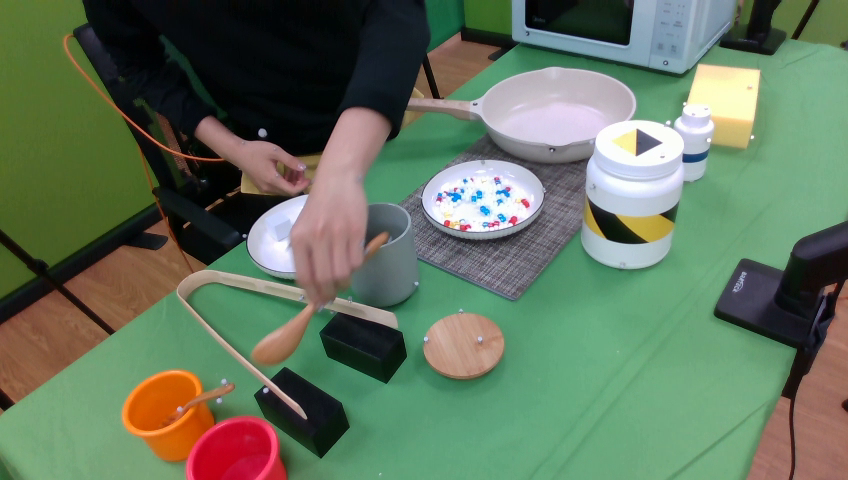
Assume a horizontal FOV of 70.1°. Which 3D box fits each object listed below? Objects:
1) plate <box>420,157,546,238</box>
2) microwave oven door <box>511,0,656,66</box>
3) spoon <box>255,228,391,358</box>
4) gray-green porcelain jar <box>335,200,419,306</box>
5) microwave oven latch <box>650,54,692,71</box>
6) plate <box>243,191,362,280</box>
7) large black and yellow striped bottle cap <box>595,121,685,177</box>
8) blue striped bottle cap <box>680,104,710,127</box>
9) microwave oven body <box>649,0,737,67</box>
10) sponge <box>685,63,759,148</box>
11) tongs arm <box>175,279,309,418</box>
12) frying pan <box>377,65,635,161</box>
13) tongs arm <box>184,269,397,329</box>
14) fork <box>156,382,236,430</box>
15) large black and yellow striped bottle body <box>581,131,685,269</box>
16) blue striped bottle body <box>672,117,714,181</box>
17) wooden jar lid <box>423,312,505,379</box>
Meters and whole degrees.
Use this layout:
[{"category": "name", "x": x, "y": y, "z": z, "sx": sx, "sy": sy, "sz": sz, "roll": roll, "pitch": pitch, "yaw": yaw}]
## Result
[{"category": "plate", "x": 0.099, "y": -0.067, "z": 1.017, "sx": 0.209, "sy": 0.038, "sz": 0.208, "roll": -4, "pitch": 40, "yaw": 4}, {"category": "microwave oven door", "x": 0.350, "y": -0.539, "z": 1.348, "sx": 0.353, "sy": 0.245, "sz": 0.039, "roll": 24, "pitch": 50, "yaw": 31}, {"category": "spoon", "x": -0.106, "y": 0.055, "z": 0.653, "sx": 0.194, "sy": 0.042, "sz": 0.021, "roll": -48, "pitch": 41, "yaw": -8}, {"category": "gray-green porcelain jar", "x": -0.063, "y": 0.023, "z": 0.872, "sx": 0.106, "sy": 0.127, "sz": 0.105, "roll": -4, "pitch": 41, "yaw": 4}, {"category": "microwave oven latch", "x": 0.531, "y": -0.386, "z": 1.301, "sx": 0.078, "sy": 0.029, "sz": 0.030, "roll": 25, "pitch": 51, "yaw": 33}, {"category": "plate", "x": -0.188, "y": -0.005, "z": 0.992, "sx": 0.207, "sy": 0.039, "sz": 0.206, "roll": -4, "pitch": 40, "yaw": 4}, {"category": "large black and yellow striped bottle cap", "x": 0.292, "y": -0.126, "z": 0.821, "sx": 0.115, "sy": 0.019, "sz": 0.114, "roll": -5, "pitch": 40, "yaw": 4}, {"category": "blue striped bottle cap", "x": 0.443, "y": -0.205, "z": 0.989, "sx": 0.044, "sy": 0.021, "sz": 0.044, "roll": -1, "pitch": 41, "yaw": 2}, {"category": "microwave oven body", "x": 0.475, "y": -0.602, "z": 1.411, "sx": 0.438, "sy": 0.261, "sz": 0.327, "roll": 23, "pitch": 50, "yaw": 32}, {"category": "sponge", "x": 0.569, "y": -0.263, "z": 1.164, "sx": 0.117, "sy": 0.061, "sz": 0.207, "roll": 12, "pitch": 45, "yaw": 22}, {"category": "tongs arm", "x": -0.255, "y": 0.132, "z": 0.800, "sx": 0.028, "sy": 0.028, "sz": 0.384, "roll": -41, "pitch": 40, "yaw": -23}, {"category": "frying pan", "x": 0.150, "y": -0.255, "z": 1.178, "sx": 0.488, "sy": 0.103, "sz": 0.306, "roll": 7, "pitch": 41, "yaw": 3}, {"category": "tongs arm", "x": -0.203, "y": 0.084, "z": 0.847, "sx": 0.382, "sy": 0.027, "sz": 0.051, "roll": 11, "pitch": 44, "yaw": 34}, {"category": "fork", "x": -0.262, "y": 0.189, "z": 0.690, "sx": 0.018, "sy": 0.206, "sz": 0.028, "roll": 49, "pitch": 43, "yaw": -6}, {"category": "large black and yellow striped bottle body", "x": 0.301, "y": -0.063, "z": 0.878, "sx": 0.131, "sy": 0.185, "sz": 0.130, "roll": -4, "pitch": 41, "yaw": 4}, {"category": "blue striped bottle body", "x": 0.450, "y": -0.165, "z": 1.022, "sx": 0.063, "sy": 0.121, "sz": 0.063, "roll": -5, "pitch": 41, "yaw": 4}, {"category": "wooden jar lid", "x": 0.053, "y": 0.142, "z": 0.800, "sx": 0.108, "sy": 0.021, "sz": 0.108, "roll": -5, "pitch": 39, "yaw": 4}]
